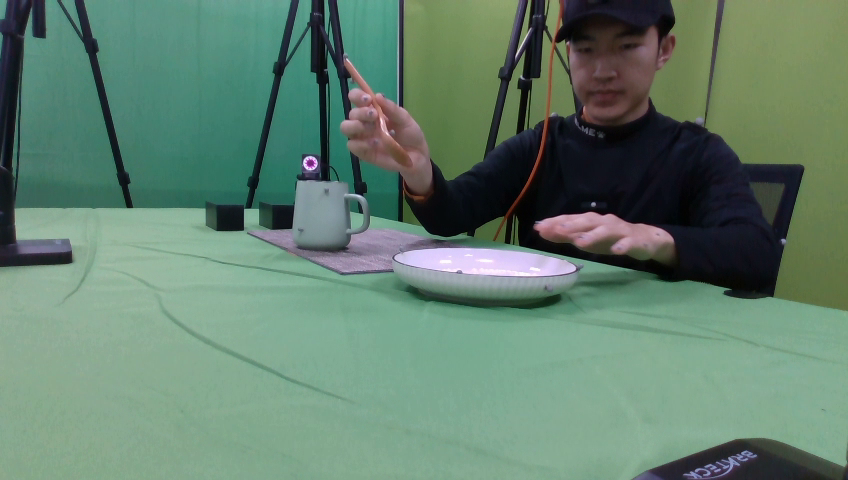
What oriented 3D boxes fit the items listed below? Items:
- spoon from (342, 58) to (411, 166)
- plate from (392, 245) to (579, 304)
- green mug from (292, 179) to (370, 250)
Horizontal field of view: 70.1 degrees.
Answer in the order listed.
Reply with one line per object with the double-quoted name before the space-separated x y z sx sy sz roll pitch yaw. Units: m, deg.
"spoon" -0.061 -0.161 0.740 0.021 0.193 0.042 -24 -31 -2
"plate" 0.066 0.038 0.683 0.209 0.038 0.209 2 7 0
"green mug" -0.144 -0.040 0.944 0.125 0.105 0.093 4 7 16
